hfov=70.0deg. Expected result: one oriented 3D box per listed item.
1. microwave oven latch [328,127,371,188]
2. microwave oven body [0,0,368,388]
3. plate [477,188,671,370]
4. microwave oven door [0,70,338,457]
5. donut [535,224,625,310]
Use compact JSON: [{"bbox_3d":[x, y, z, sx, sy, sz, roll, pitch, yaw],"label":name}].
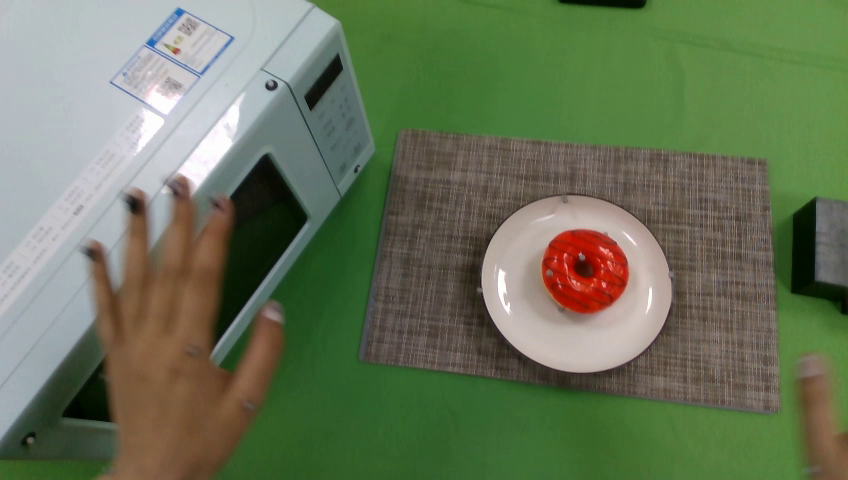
[{"bbox_3d":[-0.094,-0.103,0.726,0.030,0.030,0.079,30,76,12],"label":"microwave oven latch"},{"bbox_3d":[-0.319,-0.063,0.622,0.325,0.262,0.440,30,76,12],"label":"microwave oven body"},{"bbox_3d":[0.164,0.043,0.677,0.209,0.038,0.207,-1,71,3],"label":"plate"},{"bbox_3d":[-0.217,0.040,0.576,0.039,0.245,0.355,29,75,13],"label":"microwave oven door"},{"bbox_3d":[0.172,0.029,0.670,0.099,0.048,0.098,0,73,0],"label":"donut"}]
